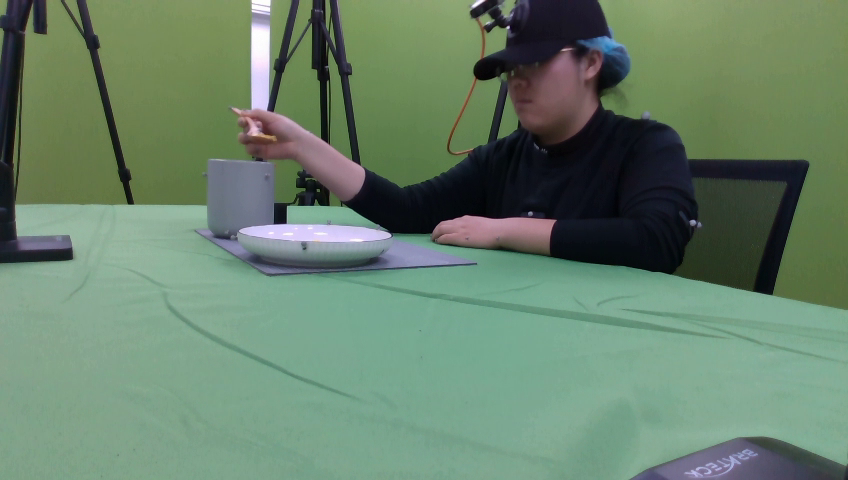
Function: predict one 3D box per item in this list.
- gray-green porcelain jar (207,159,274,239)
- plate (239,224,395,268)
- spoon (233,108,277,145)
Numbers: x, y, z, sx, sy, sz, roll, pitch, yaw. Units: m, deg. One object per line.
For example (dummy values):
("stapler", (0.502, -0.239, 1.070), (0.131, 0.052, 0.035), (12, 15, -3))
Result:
("gray-green porcelain jar", (-0.304, -0.068, 1.003), (0.106, 0.126, 0.106), (3, 7, 0))
("plate", (-0.144, 0.007, 0.823), (0.208, 0.039, 0.207), (3, 7, 0))
("spoon", (-0.293, -0.197, 1.028), (0.042, 0.021, 0.192), (7, 25, -36))
